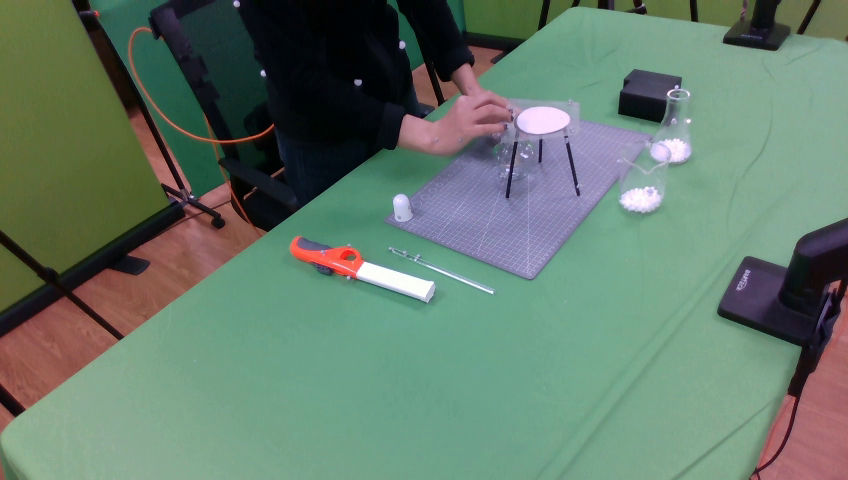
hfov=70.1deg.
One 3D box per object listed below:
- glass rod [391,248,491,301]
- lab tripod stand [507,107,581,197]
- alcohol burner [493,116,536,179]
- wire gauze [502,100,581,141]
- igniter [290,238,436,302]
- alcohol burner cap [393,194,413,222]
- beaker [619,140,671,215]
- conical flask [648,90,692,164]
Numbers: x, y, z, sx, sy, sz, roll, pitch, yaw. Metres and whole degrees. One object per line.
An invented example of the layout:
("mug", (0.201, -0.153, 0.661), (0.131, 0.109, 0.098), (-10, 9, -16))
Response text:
("glass rod", (0.023, 0.051, 0.935), (0.198, 0.008, 0.008), (25, 52, 32))
("lab tripod stand", (0.201, -0.151, 1.033), (0.148, 0.132, 0.147), (-7, 39, 6))
("alcohol burner", (0.161, -0.169, 1.078), (0.078, 0.119, 0.077), (-5, 42, 5))
("wire gauze", (0.191, -0.196, 0.981), (0.121, 0.011, 0.125), (2, 40, 12))
("igniter", (-0.106, 0.043, 0.949), (0.274, 0.025, 0.057), (16, 57, 27))
("alcohol burner cap", (-0.038, -0.057, 1.038), (0.034, 0.048, 0.033), (-6, 41, 5))
("beaker", (0.352, -0.096, 0.971), (0.074, 0.101, 0.084), (1, 42, 13))
("conical flask", (0.437, -0.199, 1.057), (0.075, 0.122, 0.075), (-5, 40, 5))
